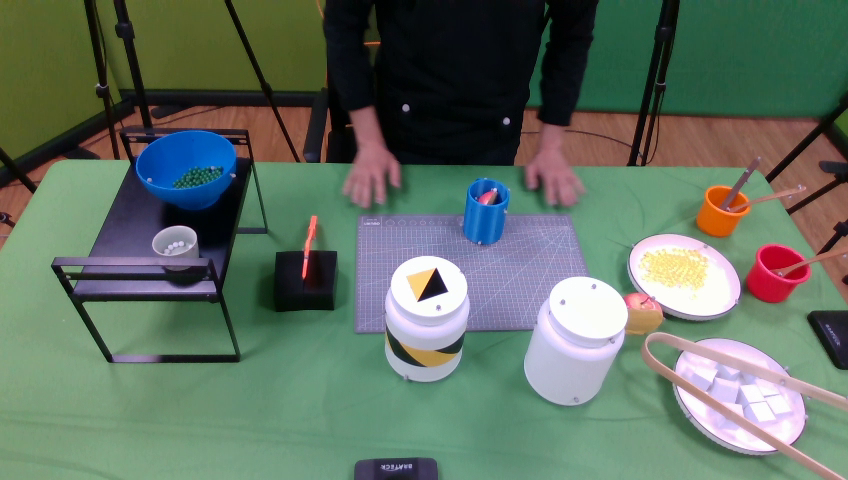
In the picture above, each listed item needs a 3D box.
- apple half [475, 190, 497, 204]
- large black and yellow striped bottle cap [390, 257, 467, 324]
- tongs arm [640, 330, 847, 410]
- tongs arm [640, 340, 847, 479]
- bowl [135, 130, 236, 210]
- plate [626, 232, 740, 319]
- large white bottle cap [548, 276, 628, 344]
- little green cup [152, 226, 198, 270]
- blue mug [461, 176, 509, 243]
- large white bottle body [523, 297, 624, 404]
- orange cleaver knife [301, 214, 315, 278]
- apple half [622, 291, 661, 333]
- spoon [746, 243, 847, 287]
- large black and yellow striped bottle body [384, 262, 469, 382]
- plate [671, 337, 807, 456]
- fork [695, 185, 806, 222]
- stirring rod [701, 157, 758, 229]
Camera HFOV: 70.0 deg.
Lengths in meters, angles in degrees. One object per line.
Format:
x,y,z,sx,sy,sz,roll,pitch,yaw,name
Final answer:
0.111,-0.067,1.200,0.032,0.081,0.081,31,51,14,apple half
0.007,0.072,0.898,0.115,0.019,0.114,2,47,-2,large black and yellow striped bottle cap
0.543,0.225,0.969,0.384,0.026,0.050,22,52,13,tongs arm
0.500,0.277,0.919,0.386,0.028,0.028,34,59,22,tongs arm
-0.375,-0.102,0.978,0.151,0.077,0.150,2,46,-2,bowl
0.488,0.071,1.157,0.209,0.038,0.208,3,46,-3,plate
0.240,0.100,0.890,0.115,0.018,0.114,3,47,-3,large white bottle cap
-0.364,0.013,0.894,0.061,0.039,0.061,3,46,-3,little green cup
0.116,-0.070,1.211,0.082,0.106,0.115,-8,47,-12,blue mug
0.235,0.159,0.952,0.131,0.185,0.130,2,47,-2,large white bottle body
-0.218,0.007,1.131,0.012,0.077,0.210,7,19,-9,orange cleaver knife
0.372,0.123,1.074,0.081,0.075,0.053,0,42,1,apple half
0.702,0.043,1.126,0.194,0.022,0.041,-29,38,30,spoon
0.002,0.127,0.962,0.131,0.185,0.130,2,48,-2,large black and yellow striped bottle body
0.503,0.254,0.984,0.208,0.039,0.206,2,46,-2,plate
0.658,-0.074,1.230,0.207,0.019,0.028,-23,36,37,fork
0.634,-0.097,1.257,0.014,0.006,0.176,38,97,30,stirring rod
